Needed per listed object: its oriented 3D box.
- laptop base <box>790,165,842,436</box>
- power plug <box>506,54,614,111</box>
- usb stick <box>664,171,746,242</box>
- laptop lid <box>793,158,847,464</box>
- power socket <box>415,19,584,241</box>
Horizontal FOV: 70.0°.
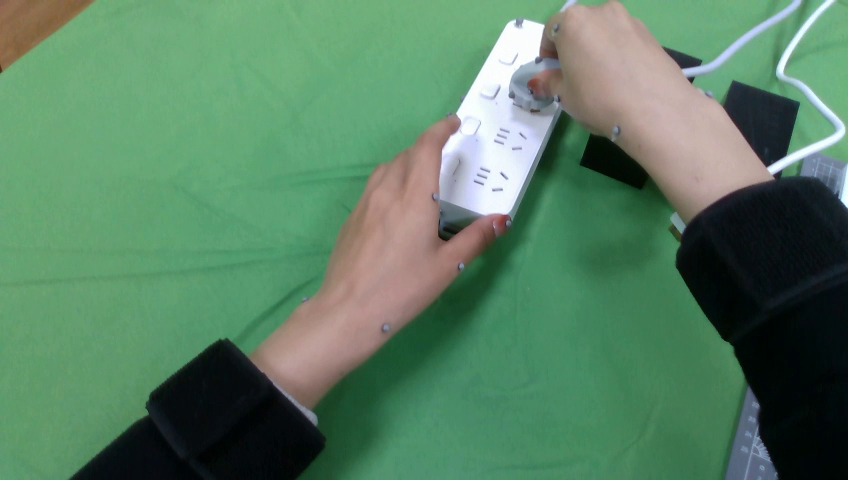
[{"bbox_3d":[0.420,0.094,0.371,0.353,0.023,0.234,23,64,13],"label":"laptop base"},{"bbox_3d":[0.095,-0.107,0.447,0.072,0.053,0.035,32,70,14],"label":"power plug"},{"bbox_3d":[0.177,-0.018,0.391,0.027,0.059,0.021,-28,72,-19],"label":"usb stick"},{"bbox_3d":[0.419,0.090,0.360,0.355,0.013,0.240,24,63,14],"label":"laptop lid"},{"bbox_3d":[0.064,-0.096,0.475,0.072,0.033,0.225,22,59,11],"label":"power socket"}]
